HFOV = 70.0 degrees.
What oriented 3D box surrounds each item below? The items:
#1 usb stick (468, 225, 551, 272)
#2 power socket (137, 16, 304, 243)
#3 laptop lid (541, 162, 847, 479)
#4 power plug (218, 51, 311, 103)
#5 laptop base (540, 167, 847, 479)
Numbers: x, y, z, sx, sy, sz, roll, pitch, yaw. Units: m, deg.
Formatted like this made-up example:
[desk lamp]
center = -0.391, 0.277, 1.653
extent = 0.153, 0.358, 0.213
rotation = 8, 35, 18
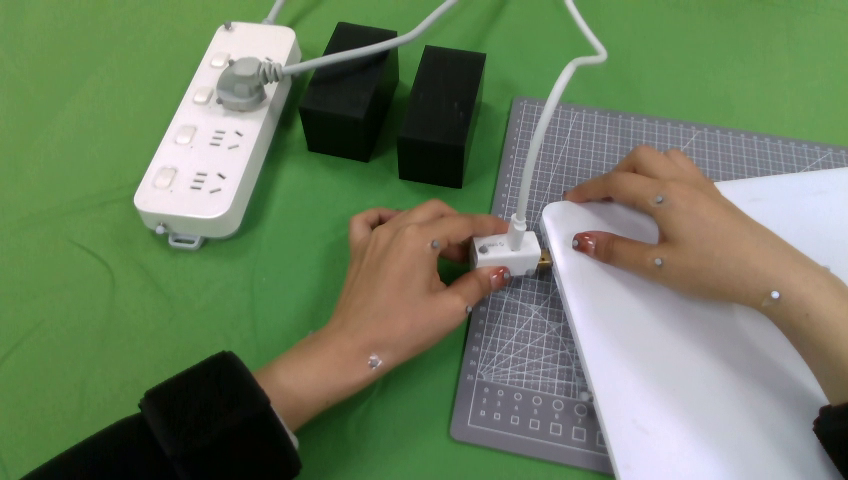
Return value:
[usb stick]
center = 0.061, 0.006, 0.412
extent = 0.059, 0.027, 0.021
rotation = -2, 51, -14
[power socket]
center = -0.155, -0.100, 0.485
extent = 0.072, 0.033, 0.225
rotation = 9, 58, 3
[laptop lid]
center = 0.272, 0.050, 0.393
extent = 0.357, 0.013, 0.239
rotation = -6, 61, -4
[power plug]
center = -0.124, -0.117, 0.468
extent = 0.072, 0.053, 0.035
rotation = 17, 59, 9
[laptop base]
center = 0.271, 0.054, 0.404
extent = 0.355, 0.023, 0.233
rotation = -7, 61, -5
